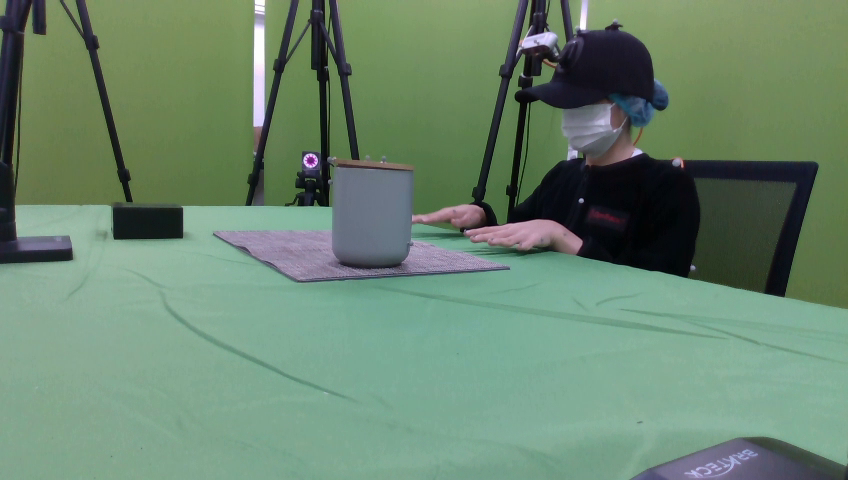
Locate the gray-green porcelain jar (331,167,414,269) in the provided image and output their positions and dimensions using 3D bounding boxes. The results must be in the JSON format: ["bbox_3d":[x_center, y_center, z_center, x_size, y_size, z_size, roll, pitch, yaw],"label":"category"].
[{"bbox_3d":[-0.068,-0.030,0.791,0.106,0.126,0.106,3,7,0],"label":"gray-green porcelain jar"}]

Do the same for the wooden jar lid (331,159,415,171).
[{"bbox_3d":[-0.066,-0.091,0.783,0.108,0.020,0.108,5,8,0],"label":"wooden jar lid"}]
